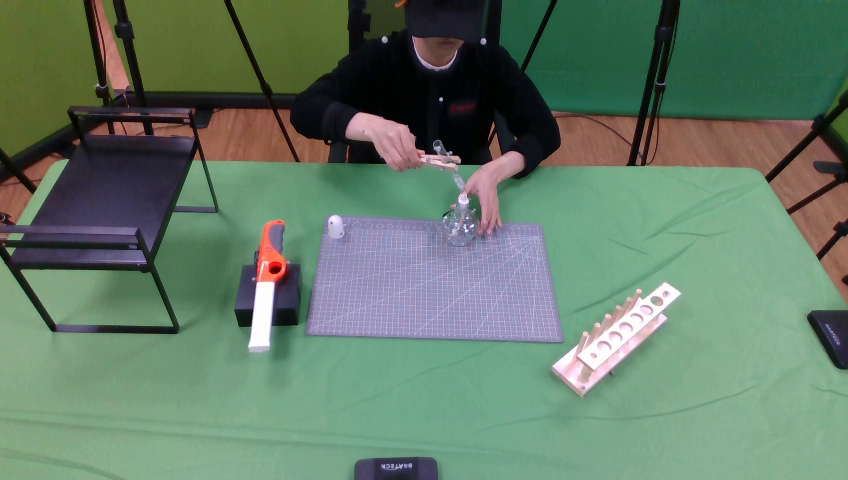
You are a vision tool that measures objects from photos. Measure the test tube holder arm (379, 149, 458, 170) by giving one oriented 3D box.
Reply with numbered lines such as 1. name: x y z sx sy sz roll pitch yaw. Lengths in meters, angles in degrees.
1. test tube holder arm: -0.014 -0.147 1.097 0.177 0.015 0.013 14 67 35

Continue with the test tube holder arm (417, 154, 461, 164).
1. test tube holder arm: 0.025 -0.144 1.073 0.087 0.015 0.010 6 63 32

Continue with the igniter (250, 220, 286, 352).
1. igniter: -0.269 0.068 1.042 0.057 0.025 0.274 0 48 -7

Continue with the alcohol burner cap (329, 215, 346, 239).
1. alcohol burner cap: -0.172 -0.028 1.192 0.034 0.048 0.033 1 47 -1

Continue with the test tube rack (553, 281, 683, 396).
1. test tube rack: 0.329 0.153 1.023 0.242 0.085 0.066 -30 54 -28

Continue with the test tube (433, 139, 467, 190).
1. test tube: 0.048 -0.131 1.071 0.017 0.151 0.017 -10 61 18

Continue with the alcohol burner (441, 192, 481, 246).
1. alcohol burner: 0.074 -0.046 1.176 0.078 0.119 0.077 2 44 -2
